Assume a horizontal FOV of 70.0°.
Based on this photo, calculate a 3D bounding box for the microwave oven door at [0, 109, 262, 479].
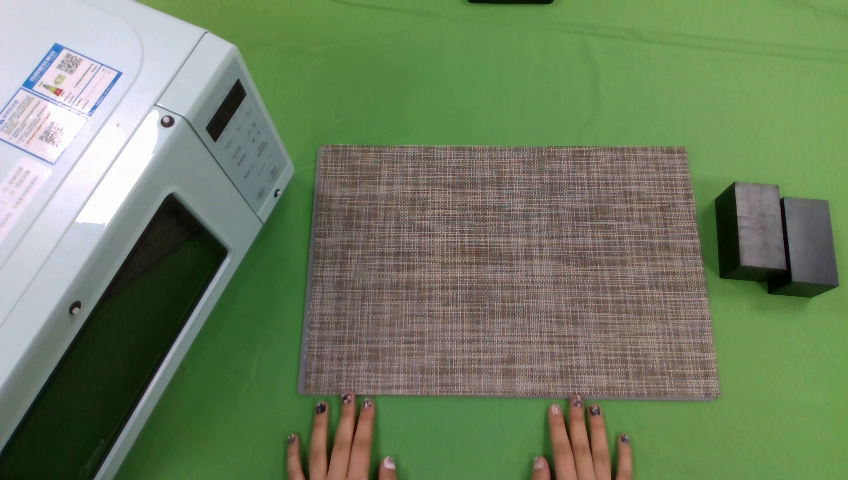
[{"bbox_3d":[-0.276,0.087,0.537,0.039,0.245,0.354,24,73,8],"label":"microwave oven door"}]

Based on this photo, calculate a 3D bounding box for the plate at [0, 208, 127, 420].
[{"bbox_3d":[-0.384,0.070,0.591,0.209,0.038,0.207,-3,69,8],"label":"plate"}]

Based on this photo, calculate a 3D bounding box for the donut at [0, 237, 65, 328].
[{"bbox_3d":[-0.412,0.041,0.605,0.099,0.048,0.098,2,56,-3],"label":"donut"}]

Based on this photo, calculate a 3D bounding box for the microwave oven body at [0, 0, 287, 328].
[{"bbox_3d":[-0.391,-0.007,0.573,0.325,0.261,0.440,24,74,7],"label":"microwave oven body"}]

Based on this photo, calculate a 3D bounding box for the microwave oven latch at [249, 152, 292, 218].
[{"bbox_3d":[-0.181,-0.067,0.696,0.030,0.029,0.079,24,74,7],"label":"microwave oven latch"}]
